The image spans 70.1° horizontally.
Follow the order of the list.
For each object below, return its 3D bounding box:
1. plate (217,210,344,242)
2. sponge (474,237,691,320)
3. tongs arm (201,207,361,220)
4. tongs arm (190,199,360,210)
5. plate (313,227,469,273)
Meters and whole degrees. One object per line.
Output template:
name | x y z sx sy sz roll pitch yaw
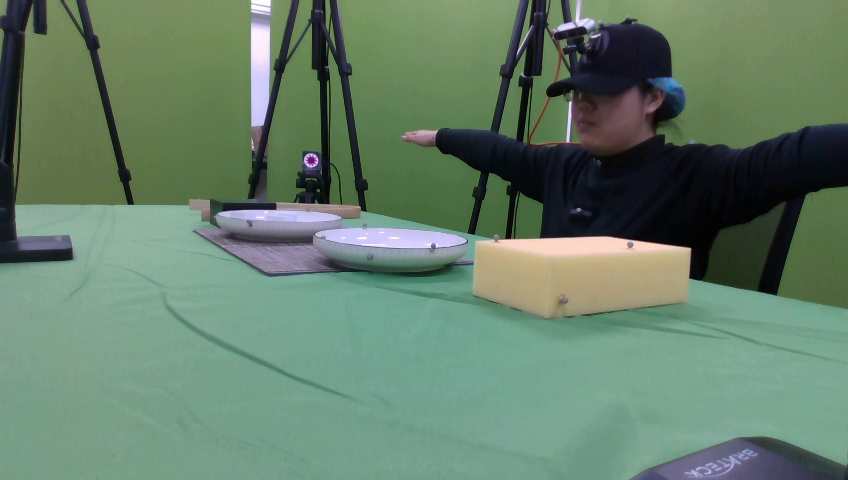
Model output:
plate | -0.241 -0.024 1.026 0.208 0.039 0.207 3 7 0
sponge | 0.170 0.034 0.643 0.208 0.061 0.117 -2 7 -33
tongs arm | -0.301 -0.060 1.350 0.390 0.028 0.028 -3 7 -38
tongs arm | -0.341 -0.075 1.419 0.387 0.026 0.050 0 8 -25
plate | -0.044 0.012 0.807 0.209 0.038 0.209 2 7 0
